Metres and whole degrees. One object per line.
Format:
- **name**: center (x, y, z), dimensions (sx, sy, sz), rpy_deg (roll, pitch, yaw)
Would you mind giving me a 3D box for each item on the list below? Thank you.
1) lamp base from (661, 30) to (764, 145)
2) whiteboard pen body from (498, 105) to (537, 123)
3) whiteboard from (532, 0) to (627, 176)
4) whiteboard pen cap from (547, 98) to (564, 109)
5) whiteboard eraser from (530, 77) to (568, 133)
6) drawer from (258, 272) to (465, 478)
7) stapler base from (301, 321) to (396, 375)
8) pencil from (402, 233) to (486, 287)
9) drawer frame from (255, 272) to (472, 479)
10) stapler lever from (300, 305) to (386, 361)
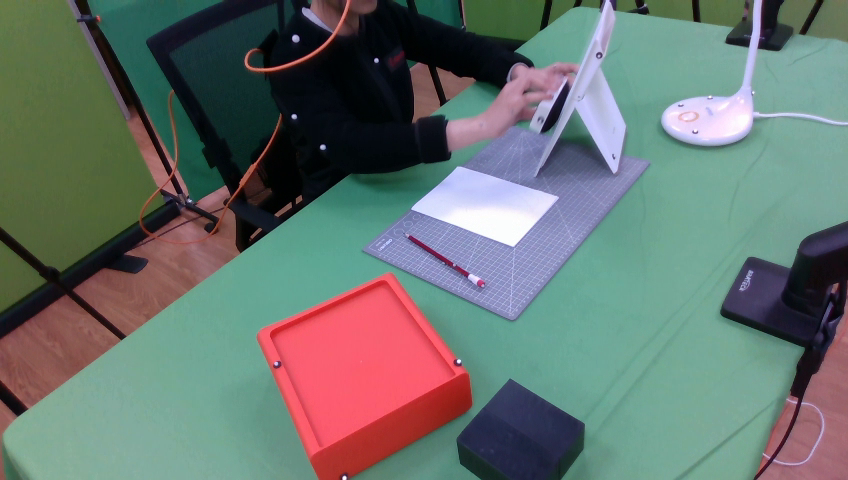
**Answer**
- **lamp base**: center (0.535, -0.287, 1.096), dimensions (0.179, 0.181, 0.159), rpy_deg (-10, 40, -4)
- **whiteboard pen body**: center (0.220, -0.267, 1.256), dimensions (0.141, 0.017, 0.017), rpy_deg (-18, 41, -14)
- **whiteboard**: center (0.322, -0.258, 1.050), dimensions (0.144, 0.306, 0.217), rpy_deg (22, 46, 6)
- **whiteboard pen cap**: center (0.275, -0.287, 1.269), dimensions (0.033, 0.018, 0.018), rpy_deg (-17, 41, -14)
- **whiteboard eraser**: center (0.218, -0.231, 1.034), dimensions (0.042, 0.055, 0.112), rpy_deg (24, 45, 8)
- **drawer**: center (-0.081, 0.160, 0.764), dimensions (0.195, 0.073, 0.210), rpy_deg (-23, 43, -17)
- **stapler base**: center (-0.103, 0.138, 0.814), dimensions (0.131, 0.024, 0.041), rpy_deg (-20, 38, -12)
- **pencil**: center (0.026, 0.027, 0.949), dimensions (0.012, 0.012, 0.192), rpy_deg (-34, 44, -26)
- **drawer frame**: center (-0.079, 0.161, 0.760), dimensions (0.202, 0.083, 0.211), rpy_deg (-24, 43, -18)
- **stapler lever**: center (-0.107, 0.121, 0.799), dimensions (0.118, 0.040, 0.026), rpy_deg (-19, 38, -13)
